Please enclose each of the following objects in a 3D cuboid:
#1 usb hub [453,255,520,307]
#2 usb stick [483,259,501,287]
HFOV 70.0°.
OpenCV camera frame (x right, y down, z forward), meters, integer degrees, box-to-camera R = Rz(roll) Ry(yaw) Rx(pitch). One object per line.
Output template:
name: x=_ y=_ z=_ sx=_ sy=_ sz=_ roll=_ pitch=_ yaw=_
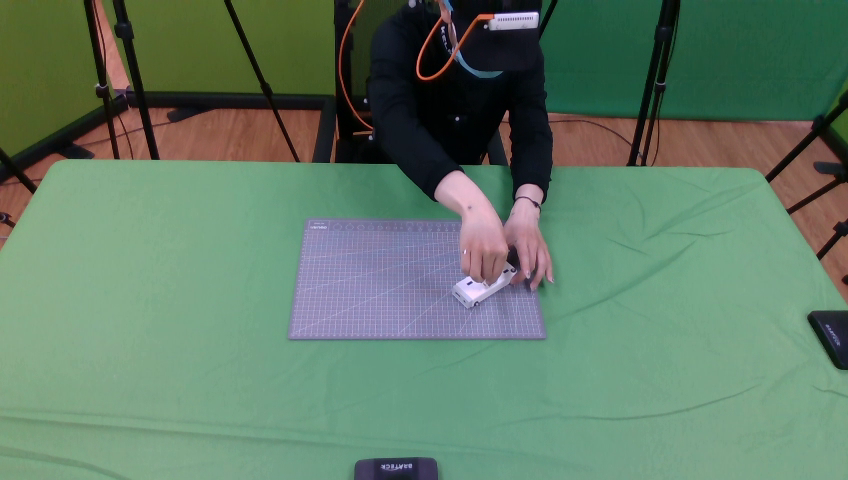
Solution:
usb hub: x=0.116 y=0.076 z=1.122 sx=0.125 sy=0.025 sz=0.049 roll=-29 pitch=54 yaw=-26
usb stick: x=0.121 y=0.064 z=1.086 sx=0.021 sy=0.059 sz=0.027 roll=-27 pitch=51 yaw=-26
